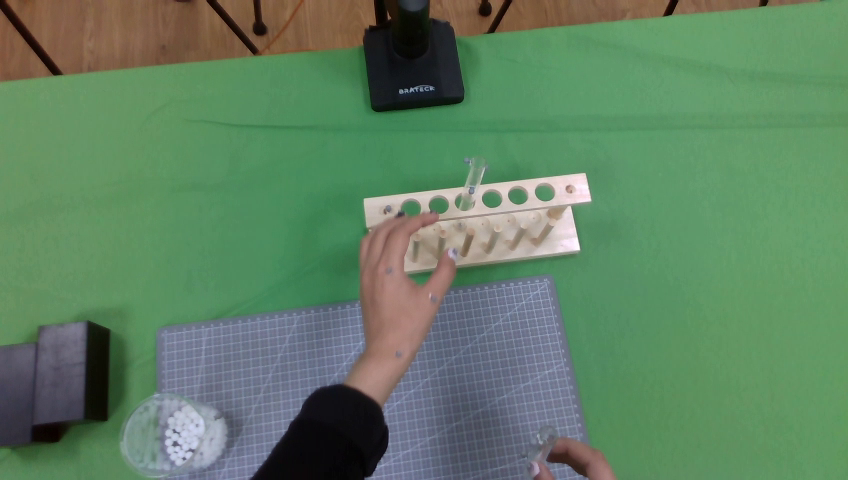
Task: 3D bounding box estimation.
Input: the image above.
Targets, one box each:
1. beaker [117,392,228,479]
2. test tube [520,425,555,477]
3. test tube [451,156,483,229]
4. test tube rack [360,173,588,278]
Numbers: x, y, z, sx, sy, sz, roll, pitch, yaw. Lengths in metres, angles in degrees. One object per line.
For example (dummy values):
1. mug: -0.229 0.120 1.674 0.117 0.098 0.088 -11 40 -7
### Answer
1. beaker: -0.237 0.190 0.593 0.084 0.101 0.073 -15 73 -7
2. test tube: 0.099 0.191 0.540 0.017 0.152 0.017 -1 59 3
3. test tube: 0.044 -0.045 0.637 0.017 0.151 0.017 1 68 -3
4. test tube rack: 0.055 -0.014 0.679 0.242 0.085 0.066 -7 71 -4
